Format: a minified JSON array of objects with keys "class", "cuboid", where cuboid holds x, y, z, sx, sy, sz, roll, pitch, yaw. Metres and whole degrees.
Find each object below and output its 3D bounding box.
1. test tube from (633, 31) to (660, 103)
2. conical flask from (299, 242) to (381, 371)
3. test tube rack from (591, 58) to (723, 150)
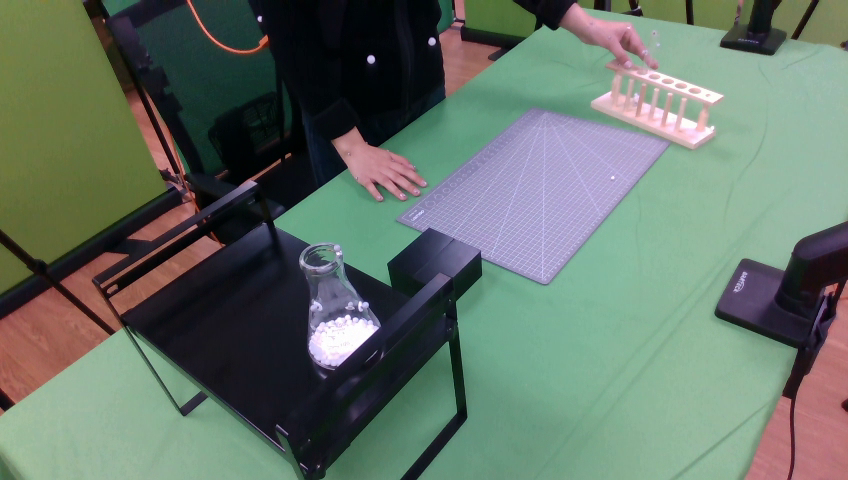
[{"class":"test tube","cuboid":[0.428,-0.331,1.170,0.017,0.151,0.017,0,46,1]},{"class":"conical flask","cuboid":[-0.085,0.059,0.565,0.075,0.122,0.075,-4,41,4]},{"class":"test tube rack","cuboid":[0.442,-0.268,1.171,0.067,0.085,0.240,-31,46,-24]}]
